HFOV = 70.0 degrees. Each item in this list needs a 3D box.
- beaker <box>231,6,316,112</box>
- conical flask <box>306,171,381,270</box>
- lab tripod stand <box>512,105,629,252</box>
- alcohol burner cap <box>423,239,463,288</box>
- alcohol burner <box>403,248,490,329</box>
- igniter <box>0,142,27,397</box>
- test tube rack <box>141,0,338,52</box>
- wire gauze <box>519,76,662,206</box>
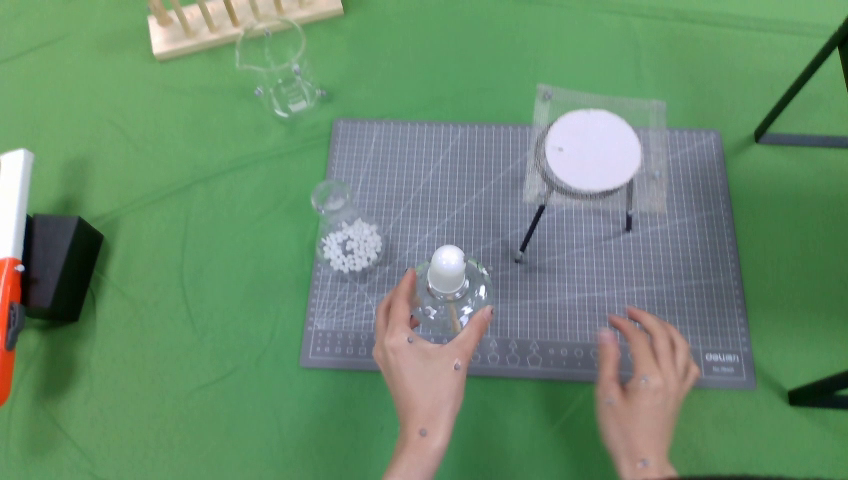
[{"bbox_3d":[-0.169,-0.199,0.688,0.084,0.101,0.073,-38,71,-12],"label":"beaker"},{"bbox_3d":[-0.085,-0.024,0.601,0.075,0.123,0.075,-1,67,2],"label":"conical flask"},{"bbox_3d":[0.146,-0.061,0.603,0.148,0.132,0.147,0,66,0],"label":"lab tripod stand"},{"bbox_3d":[0.017,0.016,0.497,0.034,0.048,0.033,2,66,-4],"label":"alcohol burner cap"},{"bbox_3d":[0.019,0.034,0.529,0.078,0.120,0.077,-1,63,2],"label":"alcohol burner"},{"bbox_3d":[-0.417,0.026,0.592,0.057,0.025,0.274,-14,67,8],"label":"igniter"},{"bbox_3d":[-0.236,-0.313,0.743,0.242,0.086,0.066,-16,69,-5],"label":"test tube rack"},{"bbox_3d":[0.152,-0.090,0.542,0.121,0.011,0.124,8,69,3],"label":"wire gauze"}]
